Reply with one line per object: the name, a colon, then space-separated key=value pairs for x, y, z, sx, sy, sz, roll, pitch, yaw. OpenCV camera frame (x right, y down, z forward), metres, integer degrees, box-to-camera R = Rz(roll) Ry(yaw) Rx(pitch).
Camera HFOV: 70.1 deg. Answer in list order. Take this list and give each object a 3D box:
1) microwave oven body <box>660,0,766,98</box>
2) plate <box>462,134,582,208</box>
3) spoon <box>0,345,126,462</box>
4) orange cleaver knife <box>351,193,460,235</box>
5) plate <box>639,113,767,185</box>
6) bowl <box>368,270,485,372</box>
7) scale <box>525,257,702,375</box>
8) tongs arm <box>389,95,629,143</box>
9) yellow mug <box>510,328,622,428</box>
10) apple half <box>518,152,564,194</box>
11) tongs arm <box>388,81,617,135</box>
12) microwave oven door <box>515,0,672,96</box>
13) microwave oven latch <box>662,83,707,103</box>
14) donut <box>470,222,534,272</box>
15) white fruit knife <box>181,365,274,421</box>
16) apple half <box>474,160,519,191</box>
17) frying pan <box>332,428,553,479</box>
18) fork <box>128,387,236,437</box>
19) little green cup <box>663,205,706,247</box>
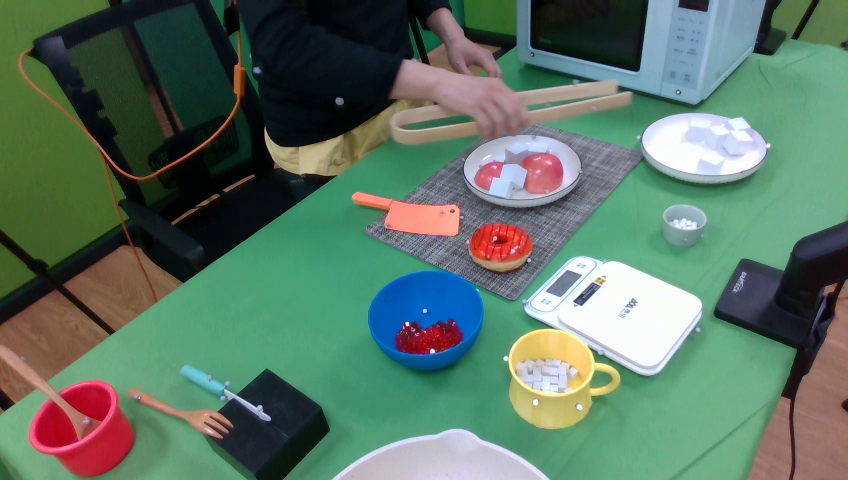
microwave oven body: x=0.472 y=-0.513 z=1.317 sx=0.438 sy=0.261 sz=0.327 roll=26 pitch=51 yaw=34
plate: x=0.173 y=-0.119 z=1.071 sx=0.209 sy=0.038 sz=0.208 roll=-4 pitch=40 yaw=4
spoon: x=-0.434 y=0.192 z=0.720 sx=0.194 sy=0.021 sz=0.042 roll=47 pitch=53 yaw=-6
orange cleaver knife: x=-0.036 y=-0.044 z=1.029 sx=0.210 sy=0.012 sz=0.077 roll=10 pitch=48 yaw=18
plate: x=0.489 y=-0.157 z=1.074 sx=0.207 sy=0.039 sz=0.206 roll=-4 pitch=40 yaw=4
bowl: x=0.007 y=0.118 z=0.791 sx=0.151 sy=0.077 sz=0.150 roll=-4 pitch=40 yaw=4
scale: x=0.254 y=0.091 z=0.821 sx=0.199 sy=0.032 sz=0.149 roll=28 pitch=51 yaw=35
tongs arm: x=0.139 y=-0.191 z=0.943 sx=0.389 sy=0.028 sz=0.028 roll=-10 pitch=51 yaw=-9
yellow mug: x=0.168 y=0.164 z=0.722 sx=0.130 sy=0.064 sz=0.099 roll=0 pitch=40 yaw=8
apple half: x=0.204 y=-0.124 z=1.048 sx=0.075 sy=0.053 sz=0.080 roll=-7 pitch=41 yaw=-3
tongs arm: x=0.132 y=-0.211 z=0.962 sx=0.386 sy=0.026 sz=0.050 roll=-8 pitch=47 yaw=-7
microwave oven door: x=0.343 y=-0.454 z=1.259 sx=0.353 sy=0.245 sz=0.039 roll=26 pitch=51 yaw=33
microwave oven latch: x=0.517 y=-0.296 z=1.204 sx=0.078 sy=0.029 sz=0.030 roll=27 pitch=52 yaw=35
donut: x=0.118 y=0.009 z=0.923 sx=0.099 sy=0.048 sz=0.098 roll=-3 pitch=38 yaw=3
white fruit knife: x=-0.246 y=0.187 z=0.747 sx=0.205 sy=0.027 sz=0.016 roll=9 pitch=41 yaw=40
apple half: x=0.130 y=-0.120 z=1.068 sx=0.081 sy=0.033 sz=0.081 roll=-4 pitch=36 yaw=3
frying pan: x=-0.089 y=0.306 z=0.564 sx=0.487 sy=0.103 sz=0.306 roll=10 pitch=41 yaw=7
fork: x=-0.305 y=0.207 z=0.744 sx=0.206 sy=0.019 sz=0.028 roll=3 pitch=41 yaw=36
little green cup: x=0.396 y=-0.020 z=0.926 sx=0.061 sy=0.039 sz=0.061 roll=-4 pitch=40 yaw=4
